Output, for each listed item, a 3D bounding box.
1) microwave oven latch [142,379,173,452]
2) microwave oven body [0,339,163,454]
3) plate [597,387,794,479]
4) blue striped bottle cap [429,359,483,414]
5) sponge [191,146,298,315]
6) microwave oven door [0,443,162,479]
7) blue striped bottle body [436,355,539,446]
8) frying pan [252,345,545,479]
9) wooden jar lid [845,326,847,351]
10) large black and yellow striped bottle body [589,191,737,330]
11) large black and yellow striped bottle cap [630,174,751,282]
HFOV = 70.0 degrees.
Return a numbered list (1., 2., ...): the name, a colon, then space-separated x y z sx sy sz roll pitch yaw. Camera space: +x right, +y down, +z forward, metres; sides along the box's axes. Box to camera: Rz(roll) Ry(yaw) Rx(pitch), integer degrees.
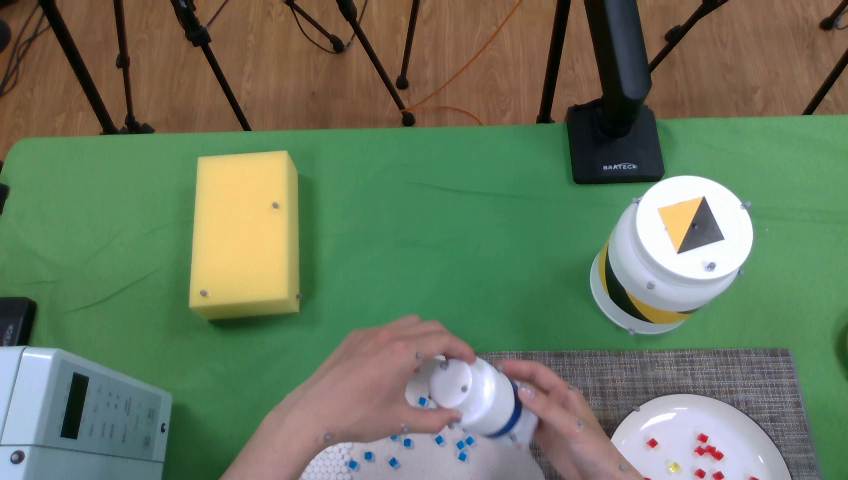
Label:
1. microwave oven latch: -0.309 0.200 0.692 0.030 0.030 0.078 2 69 2
2. microwave oven body: -0.461 0.329 0.541 0.326 0.262 0.438 -1 69 1
3. plate: 0.292 0.268 0.662 0.209 0.038 0.207 -1 68 2
4. blue striped bottle cap: 0.026 0.125 0.517 0.044 0.021 0.044 -20 48 24
5. sponge: -0.228 -0.013 0.782 0.118 0.061 0.205 -6 69 -1
6. microwave oven door: -0.316 0.364 0.517 0.039 0.245 0.353 -1 68 1
7. blue striped bottle body: 0.054 0.146 0.556 0.063 0.122 0.062 -18 55 27
8. frying pan: -0.027 0.352 0.604 0.307 0.103 0.483 -2 60 4
9. wooden jar lid: 0.558 0.129 0.723 0.108 0.021 0.107 -1 70 2
10. large black and yellow striped bottle body: 0.270 0.019 0.688 0.131 0.185 0.130 -1 67 2
11. large black and yellow striped bottle cap: 0.267 -0.014 0.608 0.115 0.019 0.114 -1 67 2
